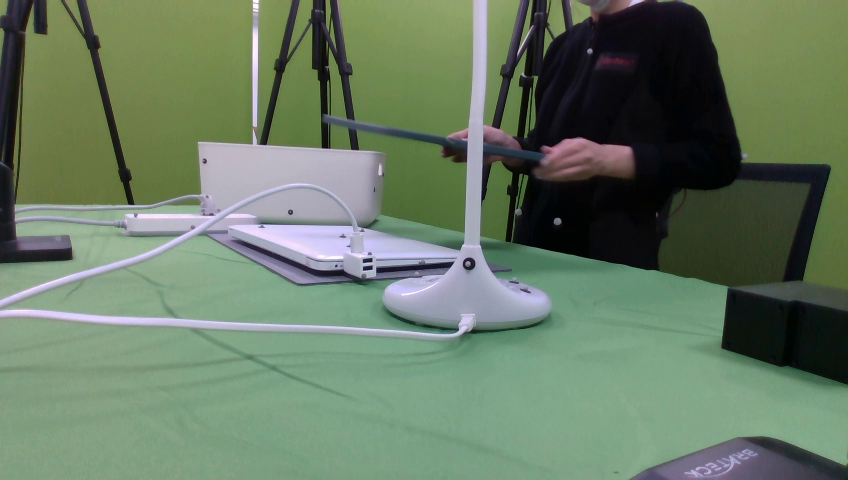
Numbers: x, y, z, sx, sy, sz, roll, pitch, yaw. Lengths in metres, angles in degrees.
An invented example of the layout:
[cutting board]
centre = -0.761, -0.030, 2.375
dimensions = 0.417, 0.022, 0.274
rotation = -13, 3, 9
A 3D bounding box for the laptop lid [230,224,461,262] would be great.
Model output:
[laptop lid]
centre = -0.120, 0.000, 0.888
dimensions = 0.243, 0.013, 0.355
rotation = 1, 7, -33

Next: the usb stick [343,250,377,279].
[usb stick]
centre = -0.076, 0.026, 0.687
dimensions = 0.021, 0.027, 0.059
rotation = -7, 8, -31

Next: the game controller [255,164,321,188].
[game controller]
centre = -0.298, -0.140, 1.319
dimensions = 0.097, 0.051, 0.155
rotation = -1, 6, 15

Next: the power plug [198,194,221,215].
[power plug]
centre = -0.387, -0.055, 1.089
dimensions = 0.035, 0.052, 0.072
rotation = -1, 6, -22

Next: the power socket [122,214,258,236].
[power socket]
centre = -0.398, -0.028, 1.049
dimensions = 0.228, 0.032, 0.072
rotation = -3, 8, -34

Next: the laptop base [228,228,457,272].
[laptop base]
centre = -0.122, 0.011, 0.889
dimensions = 0.237, 0.023, 0.352
rotation = 2, 6, -35

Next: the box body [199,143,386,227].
[box body]
centre = -0.277, -0.124, 1.334
dimensions = 0.364, 0.160, 0.254
rotation = 3, 7, 1

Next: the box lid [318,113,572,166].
[box lid]
centre = 0.034, -0.165, 1.001
dimensions = 0.374, 0.015, 0.262
rotation = 5, 10, -33

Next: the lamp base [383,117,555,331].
[lamp base]
centre = 0.045, -0.019, 0.547
dimensions = 0.161, 0.180, 0.179
rotation = 2, 10, -4
